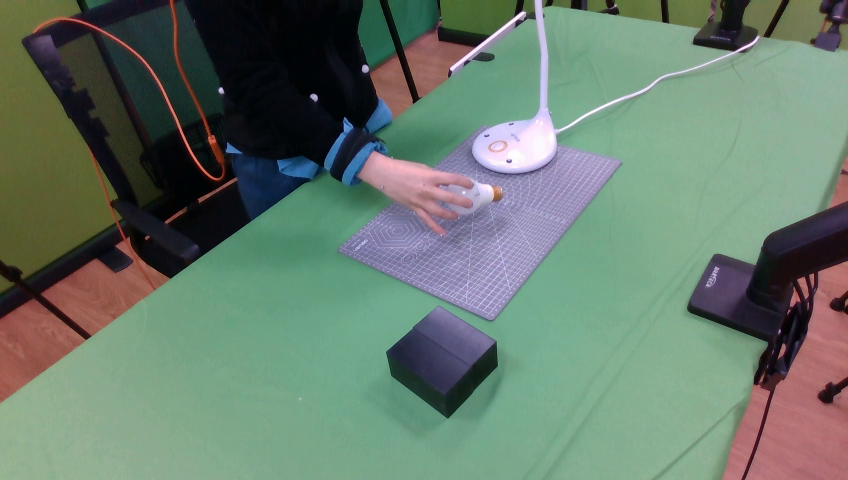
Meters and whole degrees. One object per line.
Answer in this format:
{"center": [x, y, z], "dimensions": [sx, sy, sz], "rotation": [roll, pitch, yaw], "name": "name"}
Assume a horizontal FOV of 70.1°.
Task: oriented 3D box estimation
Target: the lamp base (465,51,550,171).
{"center": [0.159, -0.243, 1.103], "dimensions": [0.180, 0.181, 0.159], "rotation": [-32, 46, -29], "name": "lamp base"}
